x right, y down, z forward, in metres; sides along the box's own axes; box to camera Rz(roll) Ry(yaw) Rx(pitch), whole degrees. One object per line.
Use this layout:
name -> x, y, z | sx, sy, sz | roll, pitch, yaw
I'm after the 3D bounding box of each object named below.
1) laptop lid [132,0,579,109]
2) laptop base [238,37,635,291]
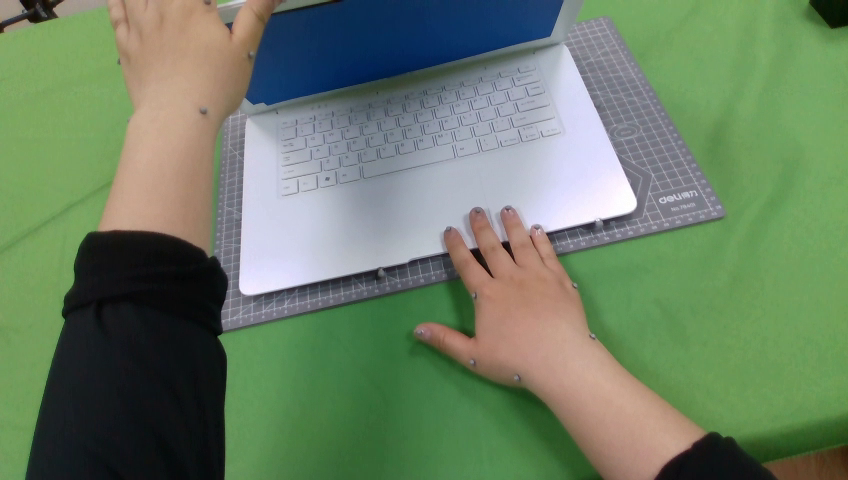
laptop lid -> -0.033, -0.183, 0.535 | 0.356, 0.242, 0.013 | -12, 88, 4
laptop base -> -0.007, -0.082, 0.588 | 0.354, 0.023, 0.233 | -13, 57, 3
